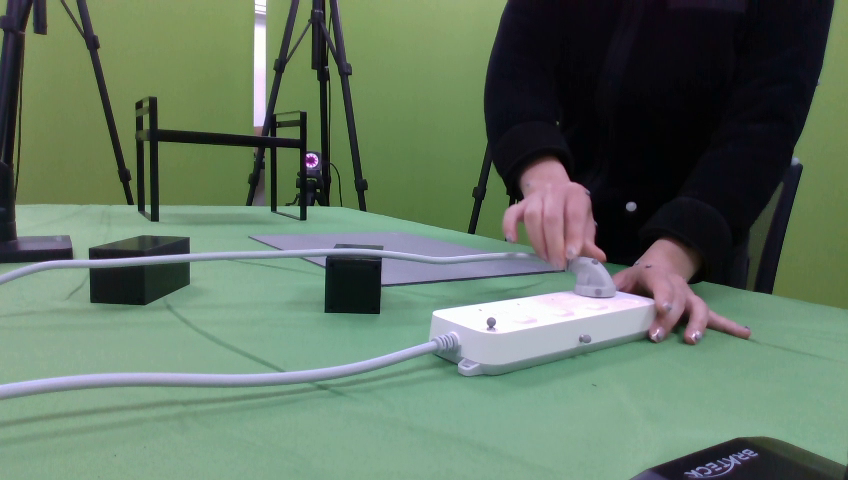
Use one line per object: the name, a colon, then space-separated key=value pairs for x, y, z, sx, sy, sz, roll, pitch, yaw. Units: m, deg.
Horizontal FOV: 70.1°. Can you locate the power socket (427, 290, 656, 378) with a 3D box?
power socket: x=0.101 y=0.066 z=0.481 sx=0.228 sy=0.032 sz=0.072 roll=-4 pitch=9 yaw=-38

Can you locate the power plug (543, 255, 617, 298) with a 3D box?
power plug: x=0.143 y=0.041 z=0.549 sx=0.035 sy=0.052 sz=0.072 roll=-2 pitch=6 yaw=-27
